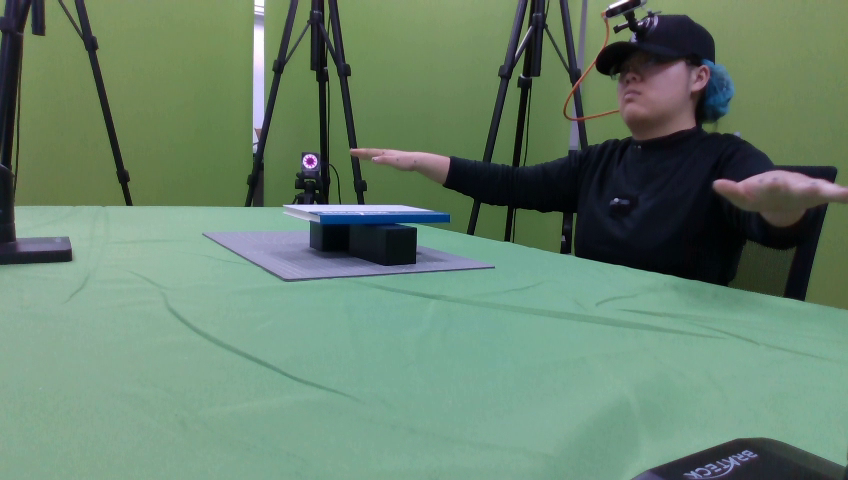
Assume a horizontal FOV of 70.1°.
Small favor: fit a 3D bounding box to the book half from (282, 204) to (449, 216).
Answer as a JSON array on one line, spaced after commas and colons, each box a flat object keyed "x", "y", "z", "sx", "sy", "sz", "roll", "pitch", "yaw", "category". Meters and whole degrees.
[{"x": -0.088, "y": -0.045, "z": 0.907, "sx": 0.211, "sy": 0.007, "sz": 0.142, "roll": -2, "pitch": 9, "yaw": -32, "category": "book half"}]

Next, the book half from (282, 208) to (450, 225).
[{"x": -0.086, "y": -0.037, "z": 0.905, "sx": 0.211, "sy": 0.016, "sz": 0.148, "roll": -1, "pitch": 9, "yaw": -32, "category": "book half"}]
